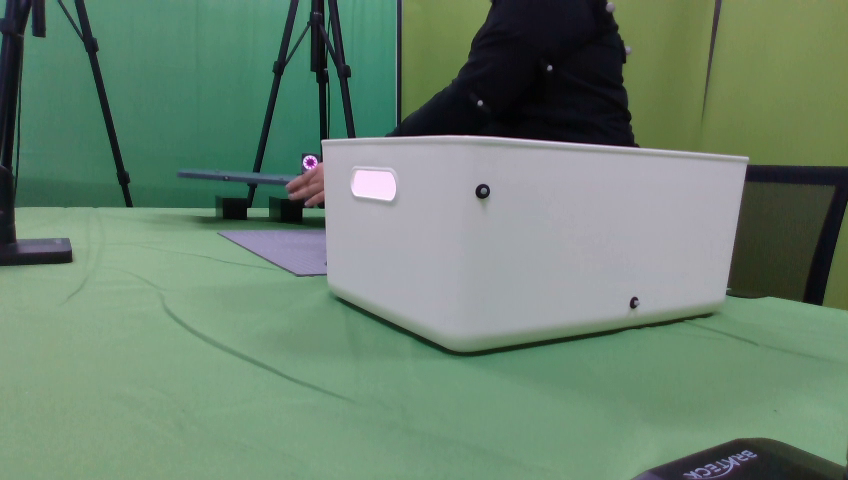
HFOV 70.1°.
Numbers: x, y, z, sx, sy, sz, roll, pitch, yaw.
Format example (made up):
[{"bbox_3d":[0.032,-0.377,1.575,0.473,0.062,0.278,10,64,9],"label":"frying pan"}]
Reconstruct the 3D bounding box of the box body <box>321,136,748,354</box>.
[{"bbox_3d":[0.105,-0.012,0.603,0.366,0.160,0.253,-2,8,-33],"label":"box body"}]

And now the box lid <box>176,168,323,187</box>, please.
[{"bbox_3d":[-0.341,-0.134,1.319,0.373,0.015,0.262,2,7,-21],"label":"box lid"}]

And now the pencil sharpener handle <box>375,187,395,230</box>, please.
[{"bbox_3d":[-0.059,-0.050,0.957,0.031,0.067,0.036,-1,13,-30],"label":"pencil sharpener handle"}]

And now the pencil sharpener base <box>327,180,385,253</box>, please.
[{"bbox_3d":[-0.103,-0.037,0.932,0.077,0.107,0.061,-1,7,-30],"label":"pencil sharpener base"}]
